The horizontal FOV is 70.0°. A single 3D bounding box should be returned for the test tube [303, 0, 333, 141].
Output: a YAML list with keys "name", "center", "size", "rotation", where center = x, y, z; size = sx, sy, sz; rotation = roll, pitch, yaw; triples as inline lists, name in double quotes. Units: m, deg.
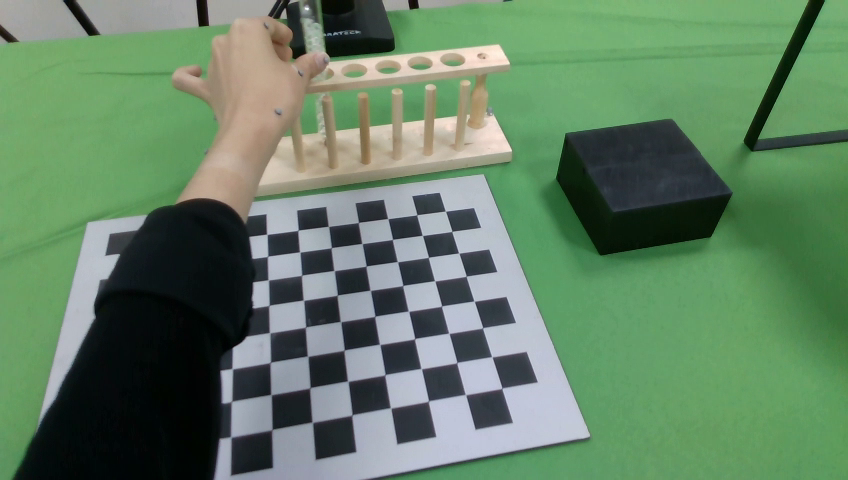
- name: "test tube"
  center: [-0.087, -0.143, 0.509]
  size: [0.017, 0.151, 0.017]
  rotation: [2, 49, -2]

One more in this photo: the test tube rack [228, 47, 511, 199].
- name: "test tube rack"
  center: [-0.043, -0.107, 0.544]
  size: [0.243, 0.086, 0.066]
  rotation: [-9, 47, -9]
